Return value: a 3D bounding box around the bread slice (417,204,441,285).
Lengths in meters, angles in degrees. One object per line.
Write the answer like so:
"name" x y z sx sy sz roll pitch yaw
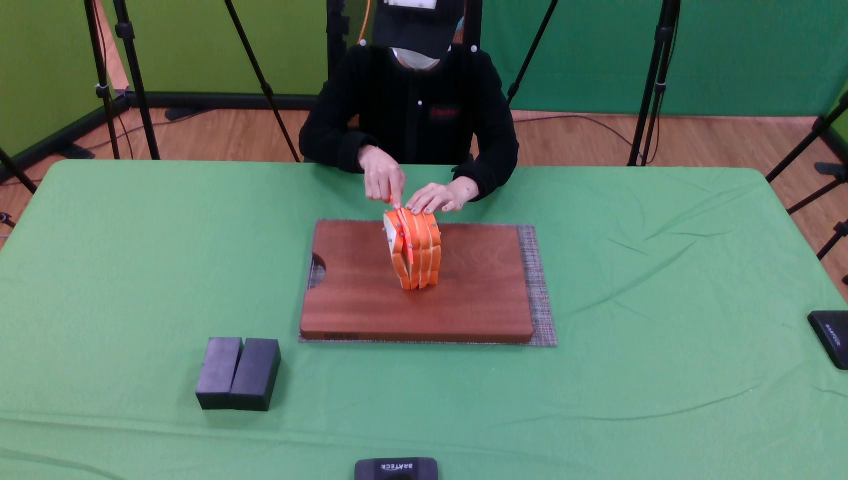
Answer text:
"bread slice" 0.008 0.005 1.081 0.018 0.135 0.106 -12 52 -11

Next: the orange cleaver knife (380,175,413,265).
"orange cleaver knife" -0.050 -0.039 1.083 0.012 0.077 0.210 -12 42 -10

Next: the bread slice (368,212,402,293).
"bread slice" -0.070 0.014 1.071 0.019 0.132 0.104 3 46 -23
